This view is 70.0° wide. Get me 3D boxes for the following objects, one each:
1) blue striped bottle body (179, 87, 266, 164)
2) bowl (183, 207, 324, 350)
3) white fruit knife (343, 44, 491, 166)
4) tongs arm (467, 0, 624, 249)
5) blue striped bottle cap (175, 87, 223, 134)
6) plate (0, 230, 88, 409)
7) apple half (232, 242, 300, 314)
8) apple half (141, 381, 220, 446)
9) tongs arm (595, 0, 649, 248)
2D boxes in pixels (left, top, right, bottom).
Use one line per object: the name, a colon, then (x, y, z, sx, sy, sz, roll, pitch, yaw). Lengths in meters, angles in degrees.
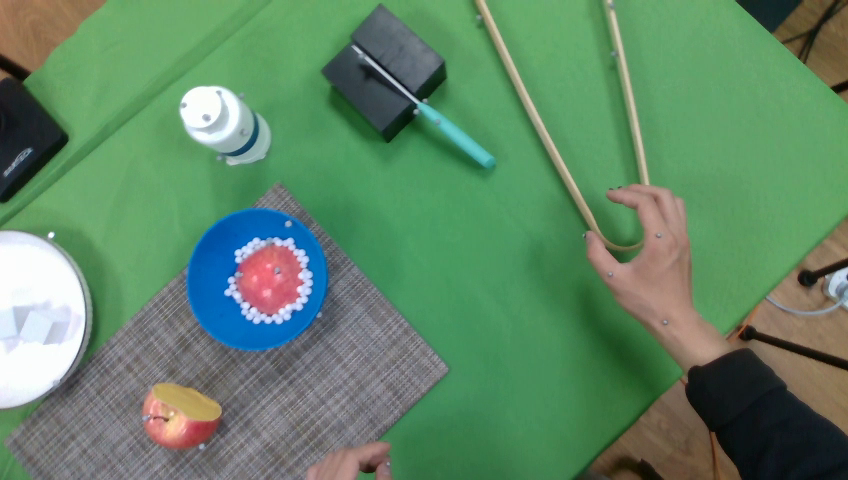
blue striped bottle body: (-0.225, -0.127, 0.670, 0.063, 0.121, 0.063, 0, 85, 5)
bowl: (-0.177, 0.042, 0.671, 0.151, 0.077, 0.151, 0, 86, 5)
white fruit knife: (-0.006, -0.148, 0.673, 0.208, 0.027, 0.016, 37, 107, -10)
tongs arm: (0.123, -0.157, 0.694, 0.028, 0.028, 0.386, -27, 84, 0)
blue striped bottle cap: (-0.230, -0.133, 0.620, 0.044, 0.020, 0.044, 0, 87, 2)
plate: (-0.493, 0.093, 0.716, 0.207, 0.039, 0.207, 0, 85, 4)
apple half: (-0.176, 0.042, 0.667, 0.081, 0.033, 0.081, -1, 84, 5)
apple half: (-0.273, 0.197, 0.669, 0.081, 0.074, 0.053, 27, 91, 2)
tongs arm: (0.200, -0.183, 0.686, 0.051, 0.026, 0.384, -14, 86, 4)
